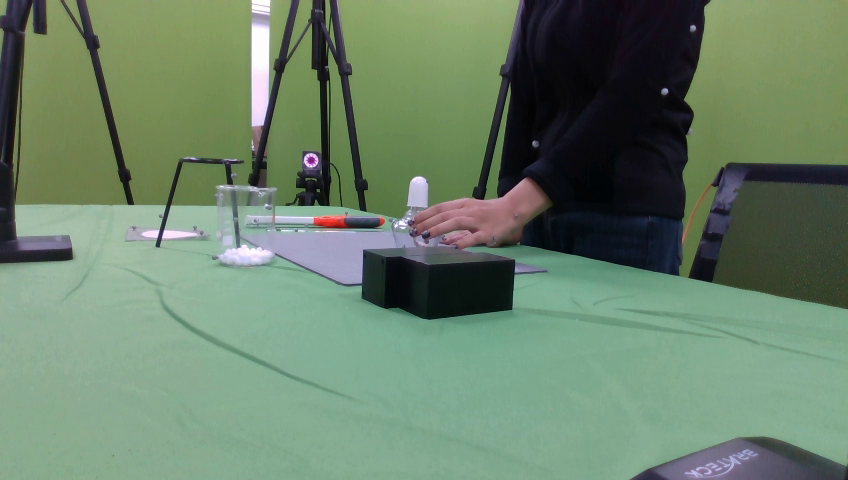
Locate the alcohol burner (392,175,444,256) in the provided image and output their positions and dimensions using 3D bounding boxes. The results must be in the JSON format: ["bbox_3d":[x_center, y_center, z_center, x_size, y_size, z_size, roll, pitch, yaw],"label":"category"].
[{"bbox_3d":[-0.009,-0.036,0.895,0.078,0.119,0.078,0,8,0],"label":"alcohol burner"}]

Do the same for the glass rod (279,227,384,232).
[{"bbox_3d":[-0.175,-0.021,1.161,0.200,0.008,0.008,1,7,-15],"label":"glass rod"}]

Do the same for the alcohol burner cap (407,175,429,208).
[{"bbox_3d":[-0.007,-0.072,0.892,0.034,0.048,0.034,5,4,0],"label":"alcohol burner cap"}]

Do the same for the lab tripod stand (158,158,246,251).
[{"bbox_3d":[-0.314,-0.055,0.891,0.148,0.131,0.148,2,9,0],"label":"lab tripod stand"}]

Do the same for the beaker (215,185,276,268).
[{"bbox_3d":[-0.226,-0.019,0.773,0.074,0.100,0.084,5,7,14],"label":"beaker"}]

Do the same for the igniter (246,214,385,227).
[{"bbox_3d":[-0.214,-0.040,1.216,0.278,0.025,0.057,0,-3,-22],"label":"igniter"}]

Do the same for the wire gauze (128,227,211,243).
[{"bbox_3d":[-0.420,-0.010,0.999,0.122,0.011,0.124,-2,10,-24],"label":"wire gauze"}]
